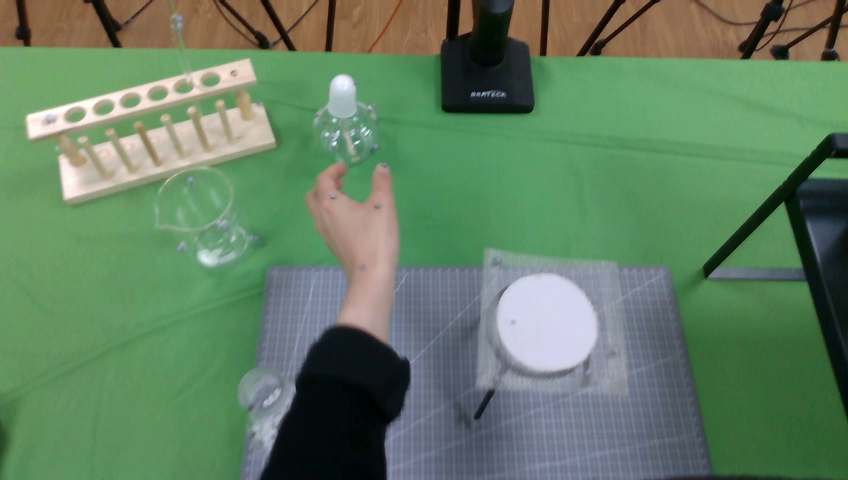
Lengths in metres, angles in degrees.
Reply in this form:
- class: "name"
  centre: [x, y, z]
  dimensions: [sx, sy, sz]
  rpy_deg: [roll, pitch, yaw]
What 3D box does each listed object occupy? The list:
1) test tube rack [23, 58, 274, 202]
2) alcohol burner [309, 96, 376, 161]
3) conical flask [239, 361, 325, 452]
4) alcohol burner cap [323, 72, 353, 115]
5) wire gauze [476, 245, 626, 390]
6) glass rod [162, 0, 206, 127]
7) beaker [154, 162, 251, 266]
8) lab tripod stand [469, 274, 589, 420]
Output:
- class: "test tube rack"
  centre: [-0.307, -0.126, 0.696]
  dimensions: [0.243, 0.086, 0.066]
  rpy_deg: [-18, 65, -12]
- class: "alcohol burner"
  centre: [-0.095, -0.146, 0.700]
  dimensions: [0.078, 0.120, 0.077]
  rpy_deg: [2, 60, -2]
- class: "conical flask"
  centre: [-0.132, 0.142, 0.541]
  dimensions: [0.075, 0.123, 0.074]
  rpy_deg: [1, 62, -1]
- class: "alcohol burner cap"
  centre: [-0.094, -0.164, 0.668]
  dimensions: [0.034, 0.048, 0.033]
  rpy_deg: [5, 61, -9]
- class: "wire gauze"
  centre: [0.106, 0.063, 0.510]
  dimensions: [0.121, 0.011, 0.124]
  rpy_deg: [6, 63, -1]
- class: "glass rod"
  centre: [-0.258, -0.188, 0.655]
  dimensions: [0.008, 0.201, 0.008]
  rpy_deg: [3, 61, -6]
- class: "beaker"
  centre: [-0.230, -0.020, 0.637]
  dimensions: [0.084, 0.101, 0.073]
  rpy_deg: [-40, 70, -19]
- class: "lab tripod stand"
  centre: [0.097, 0.098, 0.568]
  dimensions: [0.148, 0.132, 0.147]
  rpy_deg: [2, 61, -3]
